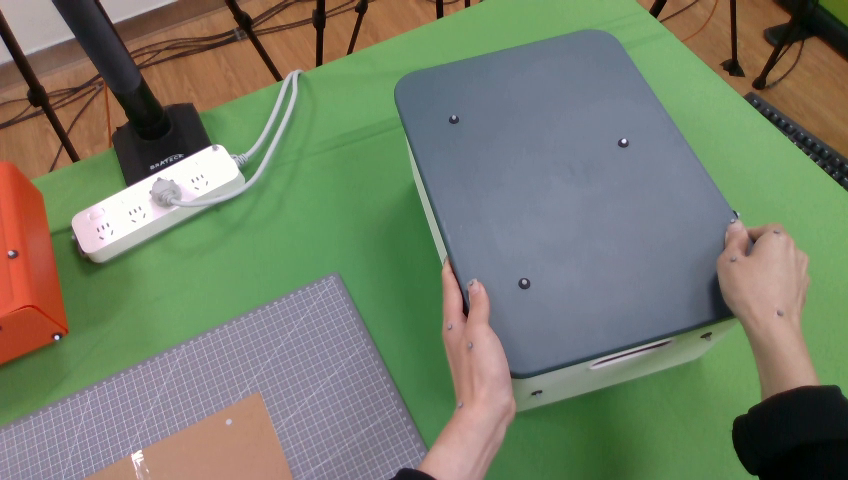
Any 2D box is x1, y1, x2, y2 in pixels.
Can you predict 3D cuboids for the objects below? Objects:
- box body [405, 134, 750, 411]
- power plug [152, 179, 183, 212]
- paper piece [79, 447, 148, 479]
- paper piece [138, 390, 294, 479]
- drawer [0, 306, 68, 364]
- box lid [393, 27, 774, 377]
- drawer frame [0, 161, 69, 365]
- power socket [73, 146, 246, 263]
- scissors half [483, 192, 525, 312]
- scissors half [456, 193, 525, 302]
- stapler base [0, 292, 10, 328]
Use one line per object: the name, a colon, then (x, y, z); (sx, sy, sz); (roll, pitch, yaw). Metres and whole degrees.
box body: (0.138, -0.025, 0.656); (0.254, 0.162, 0.360); (-15, 59, -6)
power plug: (-0.313, -0.045, 0.747); (0.035, 0.053, 0.072); (-21, 60, -10)
paper piece: (-0.322, 0.294, 0.582); (0.136, 0.009, 0.137); (-27, 62, -9)
paper piece: (-0.206, 0.237, 0.608); (0.135, 0.004, 0.134); (-24, 60, -10)
drawer: (-0.511, 0.047, 0.651); (0.194, 0.074, 0.209); (-25, 60, -10)
box lid: (0.134, -0.063, 0.591); (0.263, 0.015, 0.367); (-15, 59, -5)
drawer frame: (-0.513, 0.046, 0.651); (0.202, 0.083, 0.211); (-25, 60, -11)
power socket: (-0.336, -0.048, 0.777); (0.227, 0.033, 0.071); (-31, 62, -14)
scissors half: (0.103, 0.010, 0.720); (0.040, 0.013, 0.174); (17, 58, 0)
scissors half: (0.085, 0.002, 0.723); (0.040, 0.013, 0.174); (28, 58, 13)
stapler base: (-0.518, 0.073, 0.656); (0.130, 0.024, 0.041); (1, 75, 7)
